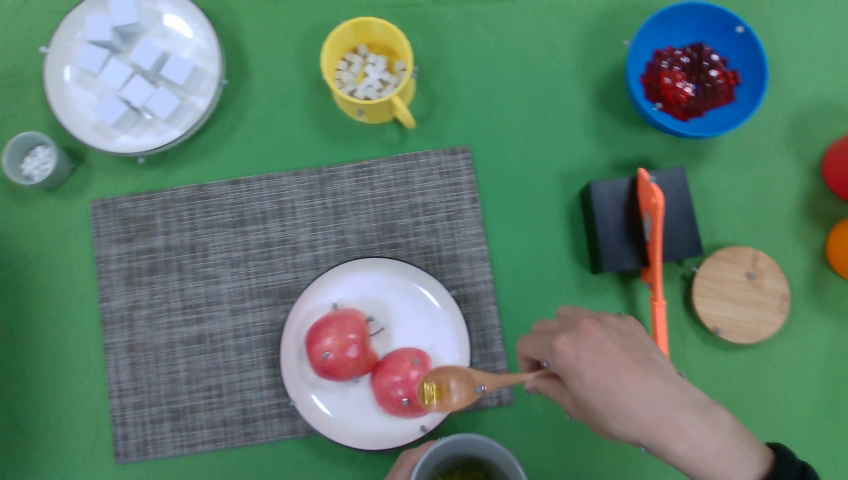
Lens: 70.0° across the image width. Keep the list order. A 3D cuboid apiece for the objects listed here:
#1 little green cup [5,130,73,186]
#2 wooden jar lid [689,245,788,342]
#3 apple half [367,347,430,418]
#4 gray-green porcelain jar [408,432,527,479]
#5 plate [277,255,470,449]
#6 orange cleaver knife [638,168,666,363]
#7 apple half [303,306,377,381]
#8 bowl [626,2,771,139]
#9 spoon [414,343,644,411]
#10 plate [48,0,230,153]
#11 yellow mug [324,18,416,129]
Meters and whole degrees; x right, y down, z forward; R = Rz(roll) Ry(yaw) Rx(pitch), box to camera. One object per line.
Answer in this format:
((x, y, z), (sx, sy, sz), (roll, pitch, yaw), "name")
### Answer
((-0.441, -0.092, 0.698), (0.061, 0.039, 0.061), (0, 84, -1), "little green cup")
((0.351, 0.060, 0.682), (0.108, 0.021, 0.108), (0, 84, 2), "wooden jar lid")
((-0.025, 0.156, 0.655), (0.081, 0.033, 0.081), (0, 79, 1), "apple half")
((0.038, 0.248, 0.558), (0.106, 0.127, 0.105), (0, 54, 1), "gray-green porcelain jar")
((-0.055, 0.121, 0.667), (0.209, 0.038, 0.208), (0, 83, 1), "plate")
((0.245, 0.029, 0.656), (0.012, 0.077, 0.212), (-7, 107, 3), "orange cleaver knife")
((-0.093, 0.113, 0.653), (0.074, 0.053, 0.080), (-11, 84, 2), "apple half")
((0.294, -0.178, 0.681), (0.151, 0.077, 0.151), (0, 84, 1), "bowl")
((0.082, 0.111, 0.499), (0.193, 0.022, 0.041), (-15, 86, 22), "spoon")
((-0.328, -0.200, 0.711), (0.208, 0.039, 0.207), (0, 83, 1), "plate")
((-0.050, -0.180, 0.692), (0.100, 0.064, 0.130), (-37, 85, -4), "yellow mug")
